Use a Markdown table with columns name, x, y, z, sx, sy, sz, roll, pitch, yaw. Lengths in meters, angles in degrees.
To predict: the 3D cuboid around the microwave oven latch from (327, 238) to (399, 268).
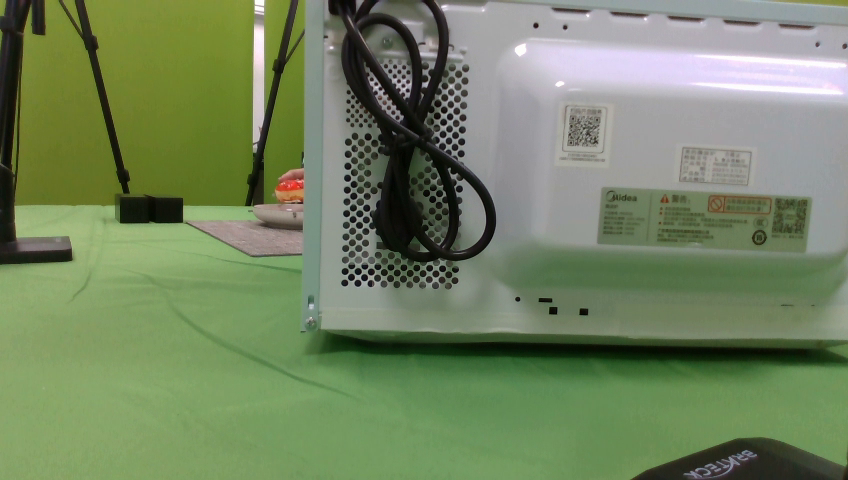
| name | x | y | z | sx | sy | sz | roll | pitch | yaw |
| --- | --- | --- | --- | --- | --- | --- | --- | --- | --- |
| microwave oven latch | -0.069 | 0.015 | 0.694 | 0.079 | 0.029 | 0.030 | 3 | 7 | -3 |

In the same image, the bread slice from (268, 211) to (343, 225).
| name | x | y | z | sx | sy | sz | roll | pitch | yaw |
| --- | --- | --- | --- | --- | --- | --- | --- | --- | --- |
| bread slice | -0.244 | -0.046 | 1.220 | 0.104 | 0.019 | 0.132 | 7 | 8 | 36 |

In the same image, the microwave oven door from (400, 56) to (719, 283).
| name | x | y | z | sx | sy | sz | roll | pitch | yaw |
| --- | --- | --- | --- | --- | --- | --- | --- | --- | --- |
| microwave oven door | 0.155 | -0.077 | 0.697 | 0.356 | 0.243 | 0.039 | 2 | 8 | -5 |

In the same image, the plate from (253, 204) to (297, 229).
| name | x | y | z | sx | sy | sz | roll | pitch | yaw |
| --- | --- | --- | --- | --- | --- | --- | --- | --- | --- |
| plate | -0.238 | -0.047 | 1.226 | 0.208 | 0.039 | 0.207 | 3 | 7 | 0 |

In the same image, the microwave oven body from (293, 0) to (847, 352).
| name | x | y | z | sx | sy | sz | roll | pitch | yaw |
| --- | --- | --- | --- | --- | --- | --- | --- | --- | --- |
| microwave oven body | 0.122 | -0.055 | 0.550 | 0.442 | 0.260 | 0.325 | 3 | 7 | -5 |

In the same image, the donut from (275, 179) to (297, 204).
| name | x | y | z | sx | sy | sz | roll | pitch | yaw |
| --- | --- | --- | --- | --- | --- | --- | --- | --- | --- |
| donut | -0.249 | -0.099 | 1.220 | 0.099 | 0.048 | 0.099 | -2 | 10 | 1 |
